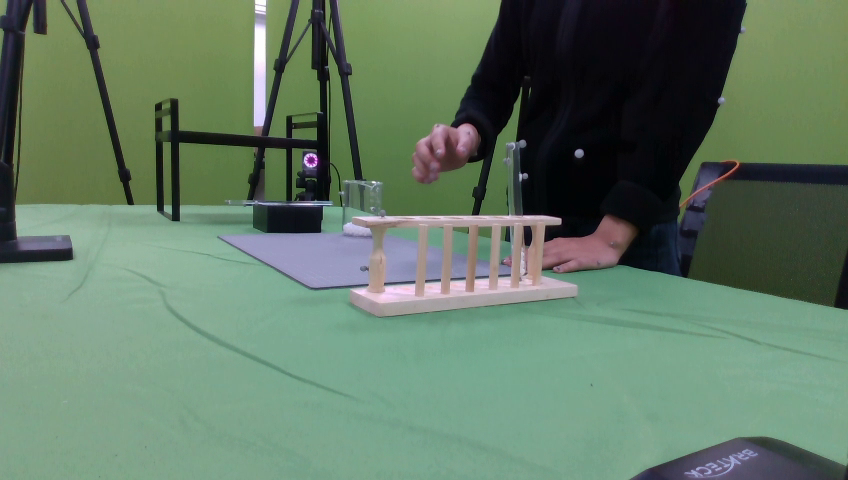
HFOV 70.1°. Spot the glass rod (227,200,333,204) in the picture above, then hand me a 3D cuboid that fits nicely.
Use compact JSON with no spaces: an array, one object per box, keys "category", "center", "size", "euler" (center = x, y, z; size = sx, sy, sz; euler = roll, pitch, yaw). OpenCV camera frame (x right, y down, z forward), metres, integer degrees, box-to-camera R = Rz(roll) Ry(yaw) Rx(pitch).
[{"category":"glass rod","center":[-0.268,-0.071,1.143],"size":[0.201,0.008,0.008],"euler":[-1,8,-29]}]

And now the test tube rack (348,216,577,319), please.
[{"category":"test tube rack","center":[0.048,0.021,0.619],"size":[0.244,0.085,0.066],"euler":[-2,9,-31]}]

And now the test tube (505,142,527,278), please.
[{"category":"test tube","center":[0.101,-0.032,0.664],"size":[0.017,0.150,0.017],"euler":[-5,8,1]}]

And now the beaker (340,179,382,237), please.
[{"category":"beaker","center":[-0.113,-0.057,1.094],"size":[0.074,0.100,0.083],"euler":[-2,10,-29]}]
